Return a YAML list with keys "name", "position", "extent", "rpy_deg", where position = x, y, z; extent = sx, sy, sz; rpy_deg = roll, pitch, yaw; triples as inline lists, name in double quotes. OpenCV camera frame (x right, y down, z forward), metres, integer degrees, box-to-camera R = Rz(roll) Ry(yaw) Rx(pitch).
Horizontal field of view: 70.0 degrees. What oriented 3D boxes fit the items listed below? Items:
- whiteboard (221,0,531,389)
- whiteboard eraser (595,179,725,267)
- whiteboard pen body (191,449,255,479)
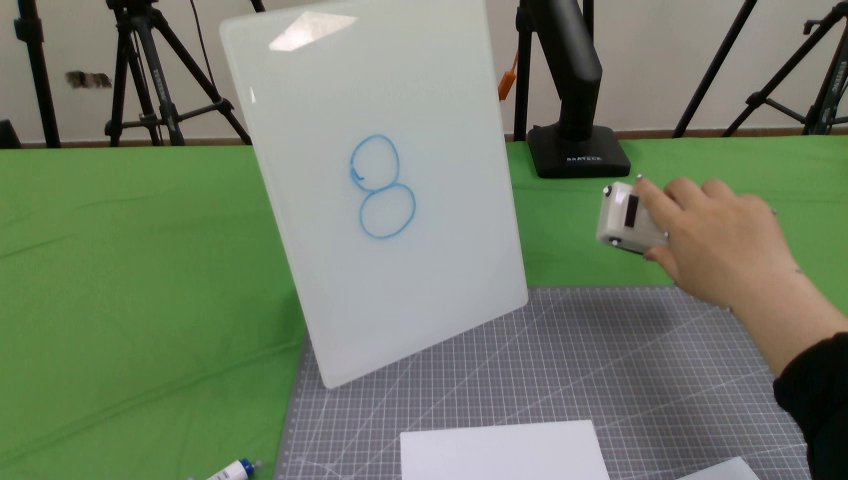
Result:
- name: "whiteboard"
  position: [-0.046, -0.061, 0.565]
  extent: [0.218, 0.307, 0.142]
  rpy_deg: [-19, 21, -21]
- name: "whiteboard eraser"
  position: [0.217, -0.015, 0.561]
  extent: [0.113, 0.042, 0.055]
  rpy_deg: [15, 79, -5]
- name: "whiteboard pen body"
  position: [-0.185, 0.191, 0.425]
  extent: [0.141, 0.017, 0.017]
  rpy_deg: [-27, 45, -31]
